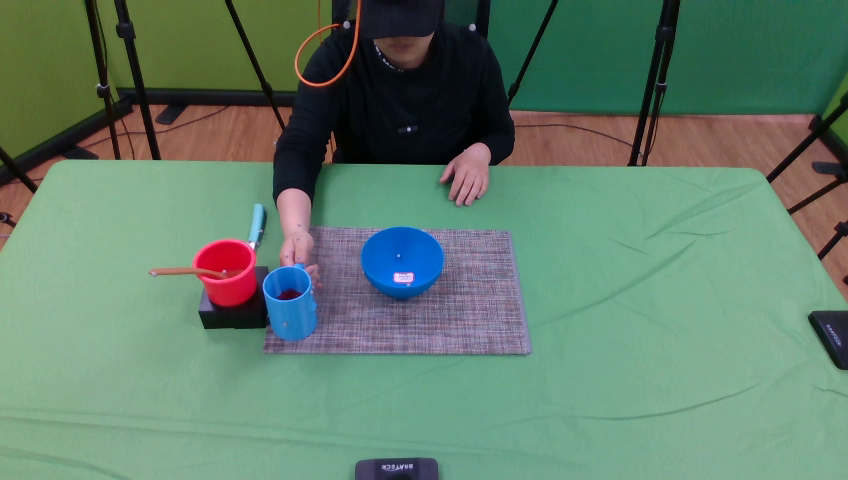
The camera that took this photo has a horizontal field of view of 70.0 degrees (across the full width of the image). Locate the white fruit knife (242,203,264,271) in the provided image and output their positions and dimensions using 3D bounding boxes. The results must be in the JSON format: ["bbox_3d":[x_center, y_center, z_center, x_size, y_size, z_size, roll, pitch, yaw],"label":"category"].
[{"bbox_3d":[-0.334,0.001,1.179,0.027,0.016,0.206,-19,46,17],"label":"white fruit knife"}]

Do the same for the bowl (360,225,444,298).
[{"bbox_3d":[-0.040,0.053,1.099,0.151,0.077,0.150,2,46,-2],"label":"bowl"}]

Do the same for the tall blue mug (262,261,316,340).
[{"bbox_3d":[-0.228,0.095,1.023,0.078,0.108,0.106,-12,48,-14],"label":"tall blue mug"}]

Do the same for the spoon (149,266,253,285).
[{"bbox_3d":[-0.351,0.052,0.968,0.041,0.021,0.194,41,13,28],"label":"spoon"}]
